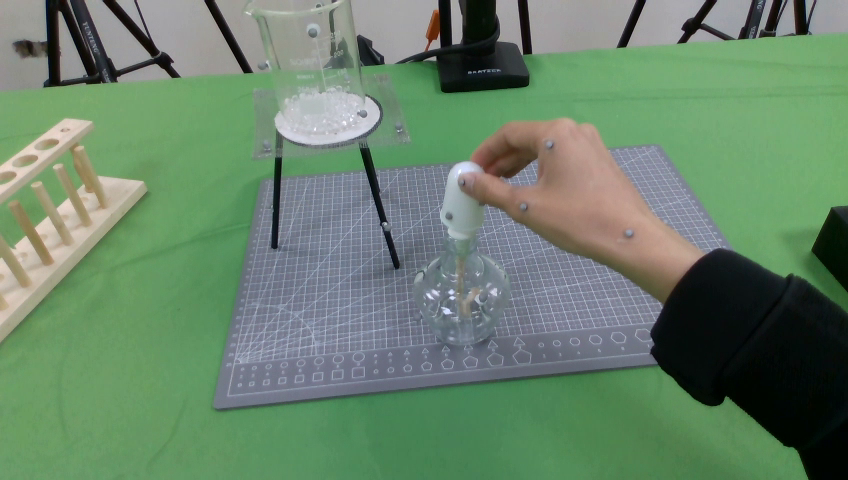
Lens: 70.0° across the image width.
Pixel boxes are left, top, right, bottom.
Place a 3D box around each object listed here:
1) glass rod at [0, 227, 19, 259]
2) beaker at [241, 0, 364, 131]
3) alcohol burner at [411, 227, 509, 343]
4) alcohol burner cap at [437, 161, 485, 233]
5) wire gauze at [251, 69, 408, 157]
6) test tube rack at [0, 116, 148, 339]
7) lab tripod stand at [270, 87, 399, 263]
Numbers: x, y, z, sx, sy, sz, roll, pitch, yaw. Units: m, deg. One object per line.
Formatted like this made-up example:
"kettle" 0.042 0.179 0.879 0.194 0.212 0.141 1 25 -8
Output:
"glass rod" -0.398 -0.063 0.516 0.008 0.201 0.008 -6 35 4
"beaker" -0.089 -0.143 0.473 0.084 0.101 0.073 -10 42 -5
"alcohol burner" 0.028 0.022 0.466 0.078 0.120 0.077 -2 40 2
"alcohol burner cap" 0.027 -0.032 0.421 0.034 0.048 0.033 3 41 -2
"wire gauze" -0.083 -0.107 0.506 0.125 0.011 0.120 -11 40 -4
"test tube rack" -0.367 -0.015 0.559 0.066 0.086 0.240 8 42 12
"lab tripod stand" -0.079 -0.058 0.549 0.148 0.133 0.147 -2 43 2
